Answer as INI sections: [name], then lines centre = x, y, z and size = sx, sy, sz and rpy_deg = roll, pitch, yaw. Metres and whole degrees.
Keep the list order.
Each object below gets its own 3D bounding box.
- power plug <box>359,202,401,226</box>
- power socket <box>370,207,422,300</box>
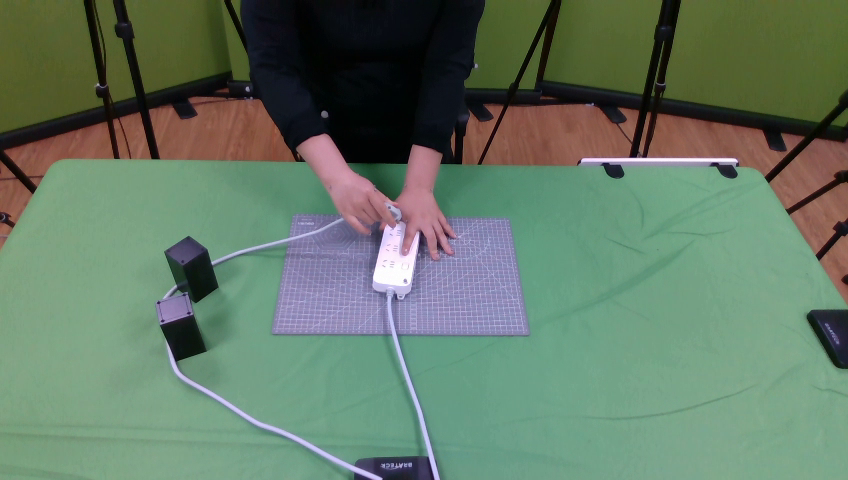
[power plug]
centre = -0.078, -0.050, 1.123
size = 0.072, 0.053, 0.035
rpy_deg = 12, 53, 20
[power socket]
centre = -0.051, 0.018, 1.165
size = 0.072, 0.033, 0.225
rpy_deg = 7, 46, 3
